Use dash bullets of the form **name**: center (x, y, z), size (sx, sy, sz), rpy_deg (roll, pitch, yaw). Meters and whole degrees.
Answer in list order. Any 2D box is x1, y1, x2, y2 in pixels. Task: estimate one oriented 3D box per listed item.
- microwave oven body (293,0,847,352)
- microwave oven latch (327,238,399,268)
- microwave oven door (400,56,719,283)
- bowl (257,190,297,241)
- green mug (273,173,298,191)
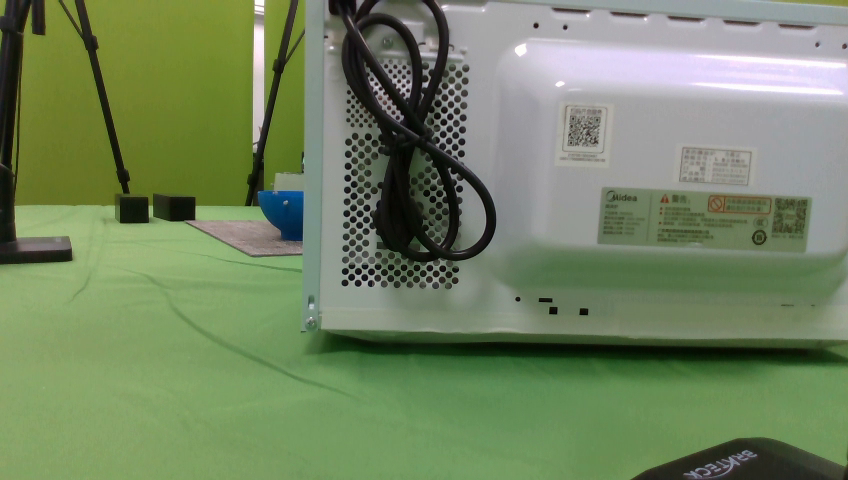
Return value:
- **microwave oven body**: center (0.122, -0.055, 0.550), size (0.442, 0.260, 0.325), rpy_deg (3, 7, -5)
- **microwave oven latch**: center (-0.069, 0.015, 0.694), size (0.079, 0.029, 0.030), rpy_deg (3, 7, -3)
- **microwave oven door**: center (0.155, -0.078, 0.698), size (0.356, 0.243, 0.039), rpy_deg (2, 8, -5)
- **bowl**: center (-0.206, -0.041, 1.027), size (0.151, 0.077, 0.151), rpy_deg (3, 8, 0)
- **green mug**: center (-0.264, -0.084, 1.236), size (0.093, 0.105, 0.125), rpy_deg (0, 8, -13)
